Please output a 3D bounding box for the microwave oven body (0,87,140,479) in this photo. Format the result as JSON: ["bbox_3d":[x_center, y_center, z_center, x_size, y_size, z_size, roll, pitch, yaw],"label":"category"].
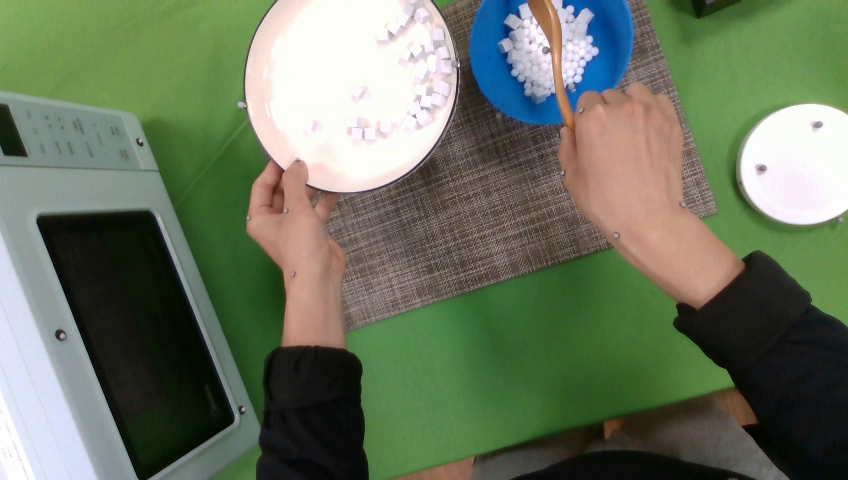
[{"bbox_3d":[-0.449,0.105,0.681,0.325,0.260,0.441,-21,91,15],"label":"microwave oven body"}]

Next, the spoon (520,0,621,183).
[{"bbox_3d":[0.122,-0.133,0.514,0.021,0.042,0.192,-15,75,-8],"label":"spoon"}]

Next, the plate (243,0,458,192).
[{"bbox_3d":[-0.068,-0.147,0.570,0.208,0.038,0.209,0,92,13],"label":"plate"}]

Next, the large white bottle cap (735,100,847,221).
[{"bbox_3d":[0.362,-0.075,0.579,0.114,0.018,0.115,1,96,14],"label":"large white bottle cap"}]

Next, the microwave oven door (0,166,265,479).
[{"bbox_3d":[-0.304,0.093,0.637,0.039,0.244,0.355,-22,90,16],"label":"microwave oven door"}]

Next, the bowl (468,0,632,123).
[{"bbox_3d":[0.124,-0.188,0.594,0.151,0.077,0.151,2,96,15],"label":"bowl"}]

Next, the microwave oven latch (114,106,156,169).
[{"bbox_3d":[-0.356,-0.121,0.733,0.030,0.029,0.079,-21,91,15],"label":"microwave oven latch"}]
